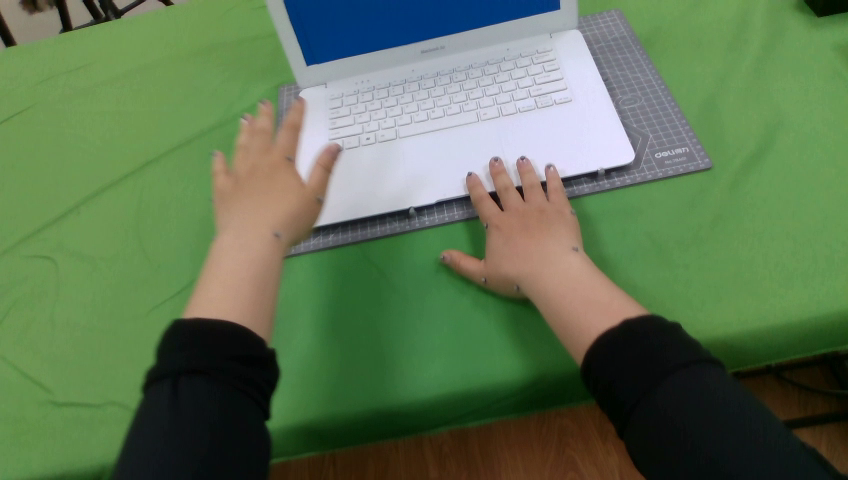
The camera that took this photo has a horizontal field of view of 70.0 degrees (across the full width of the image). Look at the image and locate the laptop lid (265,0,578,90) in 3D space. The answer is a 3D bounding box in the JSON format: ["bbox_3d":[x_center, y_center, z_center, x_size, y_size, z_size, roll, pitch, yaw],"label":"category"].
[{"bbox_3d":[-0.009,-0.305,0.675,0.356,0.244,0.013,-12,42,6],"label":"laptop lid"}]

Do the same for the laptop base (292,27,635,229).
[{"bbox_3d":[0.027,-0.130,0.680,0.354,0.023,0.233,-11,53,5],"label":"laptop base"}]
